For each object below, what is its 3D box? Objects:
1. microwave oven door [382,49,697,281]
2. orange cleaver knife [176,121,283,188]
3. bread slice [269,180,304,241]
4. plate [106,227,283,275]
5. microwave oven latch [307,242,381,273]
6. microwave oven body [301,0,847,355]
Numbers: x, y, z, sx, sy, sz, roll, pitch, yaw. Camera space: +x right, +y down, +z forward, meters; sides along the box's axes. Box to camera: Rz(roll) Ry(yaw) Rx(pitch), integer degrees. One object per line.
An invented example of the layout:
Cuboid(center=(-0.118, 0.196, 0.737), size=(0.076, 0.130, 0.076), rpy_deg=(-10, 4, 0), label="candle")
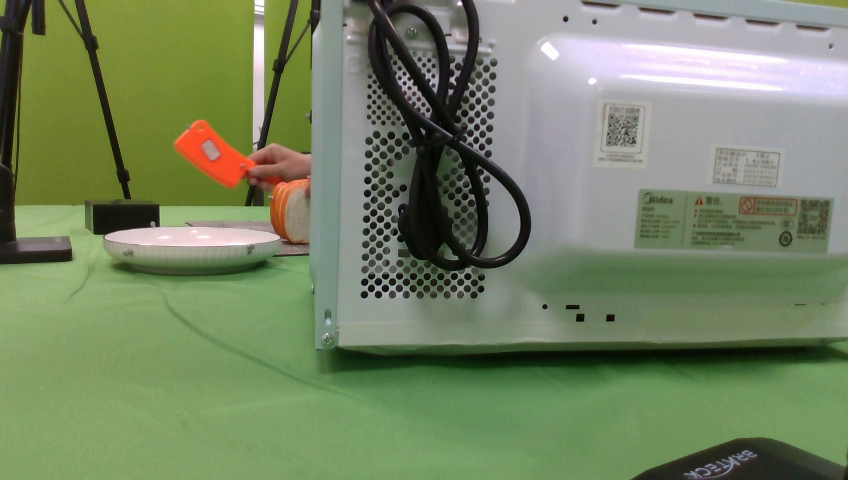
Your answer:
Cuboid(center=(0.135, -0.077, 0.685), size=(0.357, 0.243, 0.039), rpy_deg=(1, 8, -12), label="microwave oven door")
Cuboid(center=(-0.340, -0.133, 1.076), size=(0.012, 0.077, 0.212), rpy_deg=(15, -14, 42), label="orange cleaver knife")
Cuboid(center=(-0.190, -0.051, 1.001), size=(0.135, 0.107, 0.018), rpy_deg=(-2, 10, -39), label="bread slice")
Cuboid(center=(-0.288, 0.013, 0.772), size=(0.208, 0.039, 0.207), rpy_deg=(2, 7, 0), label="plate")
Cuboid(center=(-0.086, 0.019, 0.656), size=(0.079, 0.029, 0.030), rpy_deg=(2, 7, -10), label="microwave oven latch")
Cuboid(center=(0.120, -0.053, 0.535), size=(0.443, 0.260, 0.325), rpy_deg=(2, 7, -11), label="microwave oven body")
